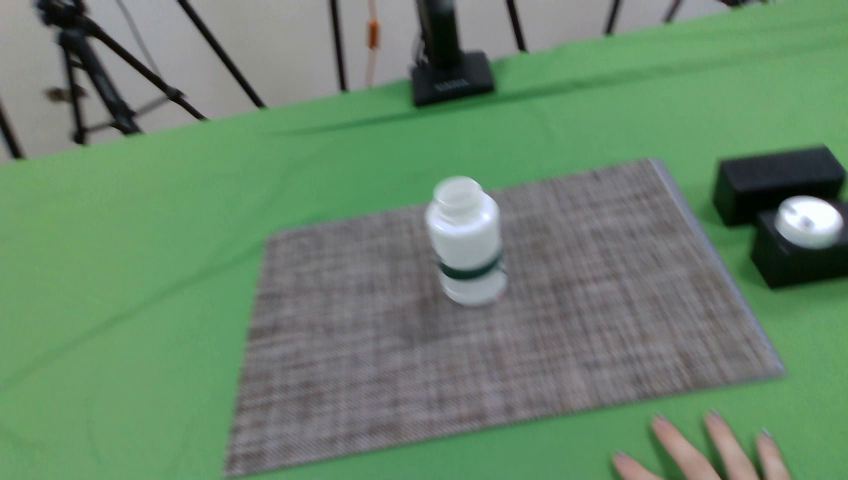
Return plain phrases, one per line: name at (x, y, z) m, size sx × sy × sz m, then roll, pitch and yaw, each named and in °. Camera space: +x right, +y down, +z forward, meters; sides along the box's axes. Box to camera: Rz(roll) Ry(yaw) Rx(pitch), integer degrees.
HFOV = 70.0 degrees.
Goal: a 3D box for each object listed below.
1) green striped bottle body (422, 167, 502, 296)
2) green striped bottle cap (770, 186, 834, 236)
green striped bottle body at (0.035, -0.008, 0.555) m, size 0.063 × 0.120 × 0.062 m, roll -7°, pitch 44°, yaw 8°
green striped bottle cap at (0.316, -0.025, 0.506) m, size 0.044 × 0.020 × 0.044 m, roll -5°, pitch 45°, yaw 6°
